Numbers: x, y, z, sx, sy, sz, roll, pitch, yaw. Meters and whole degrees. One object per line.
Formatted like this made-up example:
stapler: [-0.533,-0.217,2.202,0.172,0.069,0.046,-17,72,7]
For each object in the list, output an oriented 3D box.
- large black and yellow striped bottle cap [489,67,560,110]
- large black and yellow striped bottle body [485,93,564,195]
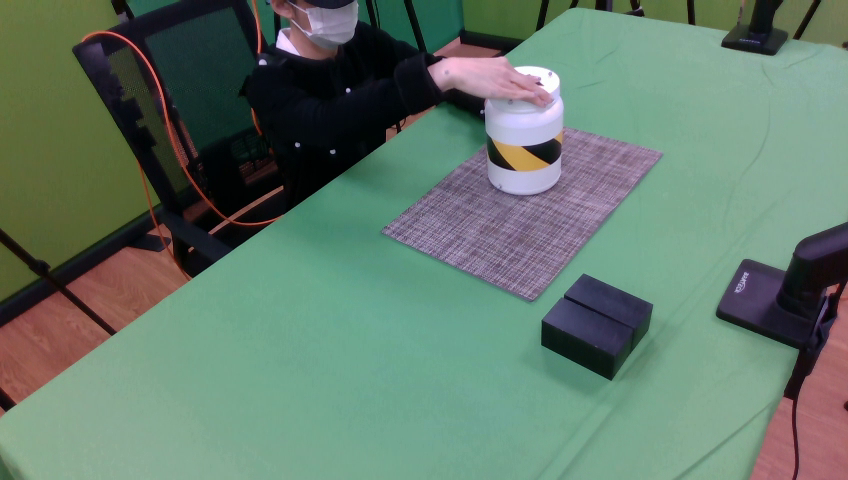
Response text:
large black and yellow striped bottle cap: [0.162,-0.247,0.980,0.115,0.019,0.114,-5,41,5]
large black and yellow striped bottle body: [0.171,-0.184,1.034,0.131,0.185,0.130,-5,41,4]
